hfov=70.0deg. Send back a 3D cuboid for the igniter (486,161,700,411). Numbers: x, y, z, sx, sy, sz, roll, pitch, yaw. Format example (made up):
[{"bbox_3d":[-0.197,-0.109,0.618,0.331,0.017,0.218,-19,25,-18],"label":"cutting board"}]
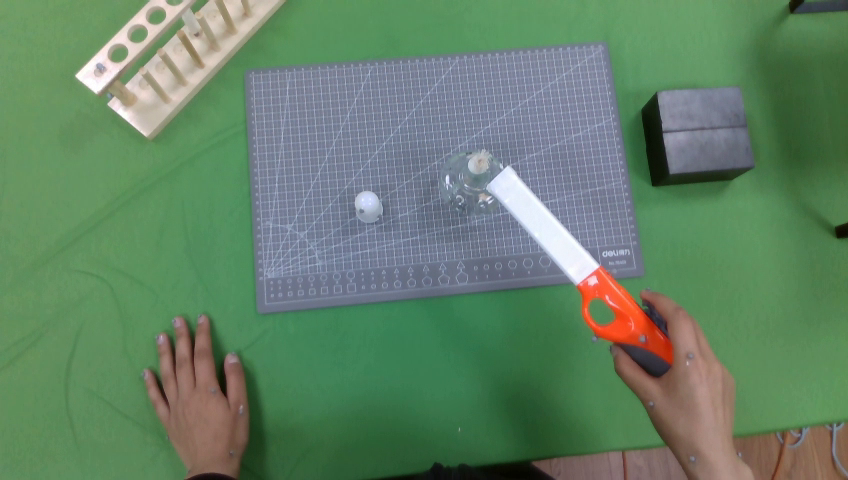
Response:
[{"bbox_3d":[0.157,0.039,0.562,0.057,0.025,0.275,-42,81,18],"label":"igniter"}]

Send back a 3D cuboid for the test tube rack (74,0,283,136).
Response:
[{"bbox_3d":[-0.273,-0.243,0.702,0.066,0.085,0.242,39,81,6],"label":"test tube rack"}]

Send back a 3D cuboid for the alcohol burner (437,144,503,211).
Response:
[{"bbox_3d":[0.055,-0.073,0.666,0.078,0.119,0.077,1,78,-3],"label":"alcohol burner"}]

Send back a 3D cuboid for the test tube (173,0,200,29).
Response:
[{"bbox_3d":[-0.275,-0.278,0.658,0.017,0.151,0.017,0,74,-1],"label":"test tube"}]

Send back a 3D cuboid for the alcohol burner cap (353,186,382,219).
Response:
[{"bbox_3d":[-0.066,-0.045,0.693,0.034,0.048,0.033,0,79,0],"label":"alcohol burner cap"}]
